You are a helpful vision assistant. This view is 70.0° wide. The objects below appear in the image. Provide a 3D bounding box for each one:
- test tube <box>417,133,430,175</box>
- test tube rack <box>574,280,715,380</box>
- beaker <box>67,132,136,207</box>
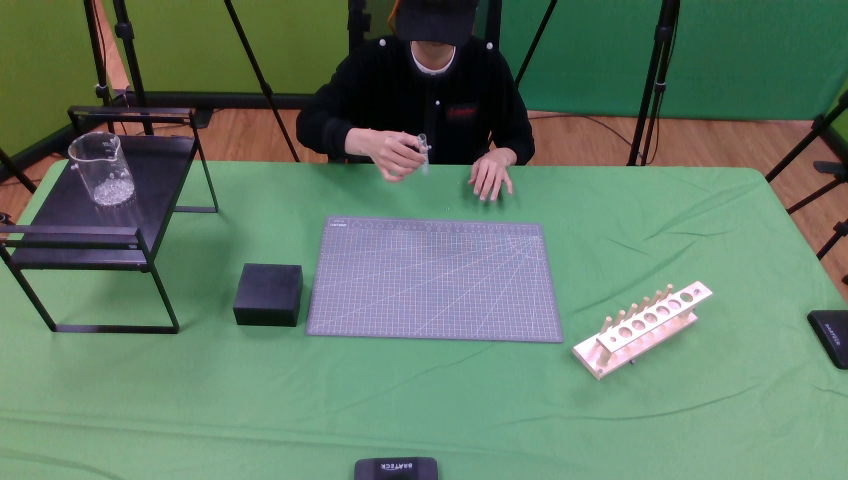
[{"bbox_3d":[0.000,-0.158,1.132,0.017,0.151,0.017,-1,71,3],"label":"test tube"},{"bbox_3d":[0.378,0.140,1.038,0.242,0.085,0.066,-22,51,-23],"label":"test tube rack"},{"bbox_3d":[-0.504,-0.109,0.961,0.083,0.101,0.074,25,50,19],"label":"beaker"}]
